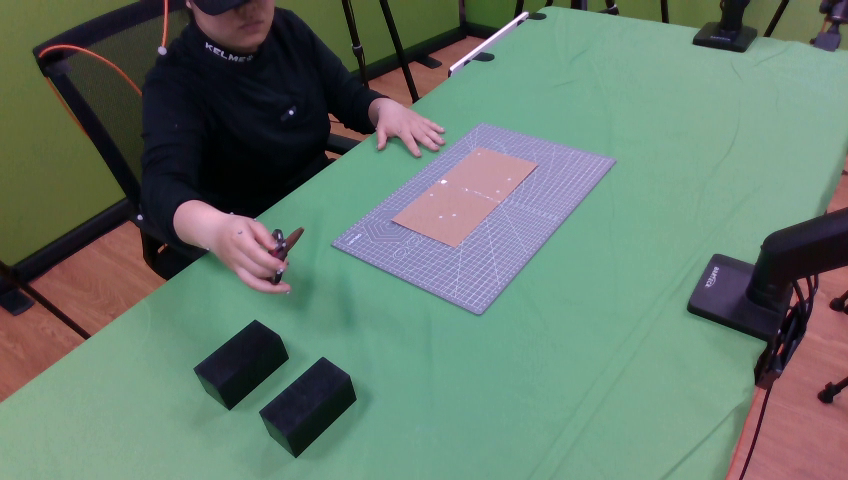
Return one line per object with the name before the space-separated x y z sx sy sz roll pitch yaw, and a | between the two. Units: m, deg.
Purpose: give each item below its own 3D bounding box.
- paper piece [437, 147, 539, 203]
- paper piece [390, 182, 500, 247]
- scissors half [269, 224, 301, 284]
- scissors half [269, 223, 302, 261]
paper piece | 0.117 -0.122 1.104 0.135 0.009 0.138 26 49 28
paper piece | 0.037 -0.048 1.027 0.134 0.004 0.136 24 48 30
scissors half | -0.173 0.017 0.751 0.013 0.175 0.040 4 64 -23
scissors half | -0.174 -0.002 0.757 0.013 0.040 0.174 -1 -8 -25
